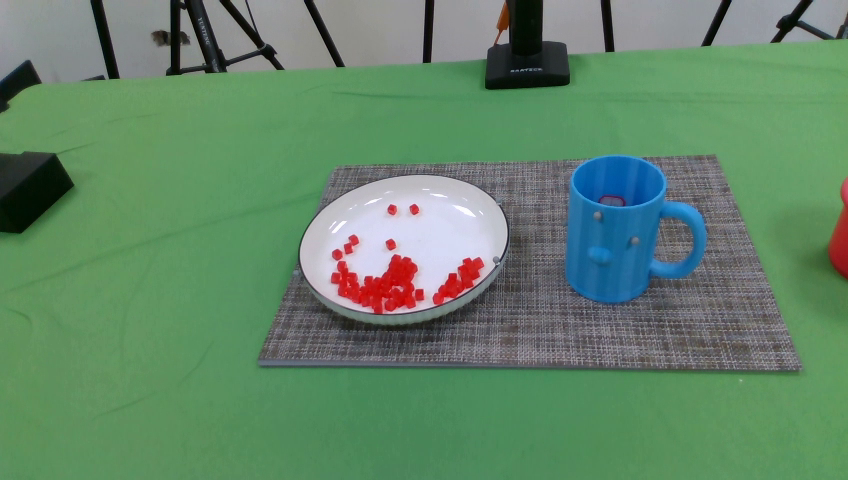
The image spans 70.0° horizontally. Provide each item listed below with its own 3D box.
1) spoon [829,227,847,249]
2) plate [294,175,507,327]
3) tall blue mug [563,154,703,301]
[{"bbox_3d":[0.429,-0.022,0.484,0.041,0.193,0.021,-34,92,-32],"label":"spoon"},{"bbox_3d":[-0.021,0.010,0.598,0.207,0.039,0.205,-4,41,4],"label":"plate"},{"bbox_3d":[0.179,-0.011,0.533,0.107,0.109,0.077,-5,40,4],"label":"tall blue mug"}]
